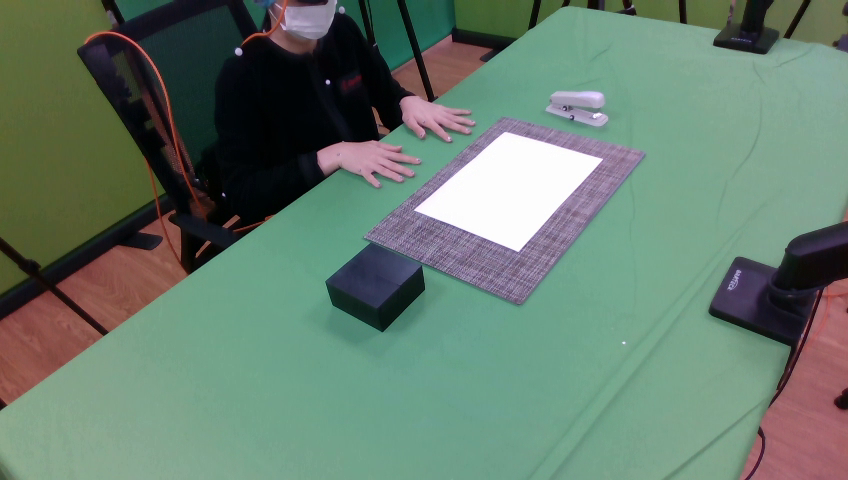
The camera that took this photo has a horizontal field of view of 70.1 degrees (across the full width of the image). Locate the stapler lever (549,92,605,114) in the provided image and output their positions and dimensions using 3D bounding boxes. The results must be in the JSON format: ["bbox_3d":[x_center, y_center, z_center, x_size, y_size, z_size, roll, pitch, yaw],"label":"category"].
[{"bbox_3d":[0.309,-0.285,1.220,0.117,0.040,0.027,26,49,36],"label":"stapler lever"}]

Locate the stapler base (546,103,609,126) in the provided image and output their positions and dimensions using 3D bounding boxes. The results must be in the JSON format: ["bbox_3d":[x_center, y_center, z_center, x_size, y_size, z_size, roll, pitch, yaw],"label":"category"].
[{"bbox_3d":[0.314,-0.265,1.235,0.129,0.024,0.041,26,48,35],"label":"stapler base"}]
